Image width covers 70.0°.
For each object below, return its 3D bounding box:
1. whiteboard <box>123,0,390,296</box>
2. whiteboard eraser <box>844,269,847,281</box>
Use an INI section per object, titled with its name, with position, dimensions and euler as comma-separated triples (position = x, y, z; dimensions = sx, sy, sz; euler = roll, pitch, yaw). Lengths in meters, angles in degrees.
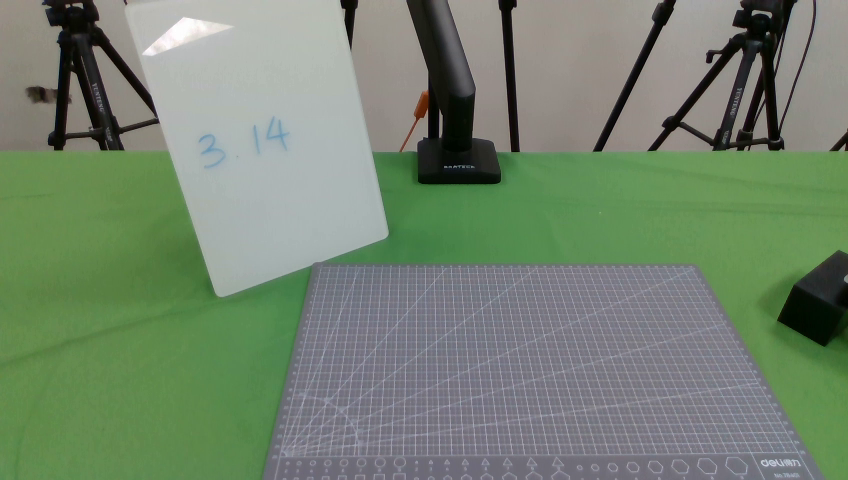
[whiteboard]
position = -0.192, -0.128, 0.706
dimensions = 0.218, 0.307, 0.142
euler = -21, 22, -26
[whiteboard eraser]
position = 0.467, 0.047, 0.572
dimensions = 0.056, 0.042, 0.111
euler = -25, 44, -32
